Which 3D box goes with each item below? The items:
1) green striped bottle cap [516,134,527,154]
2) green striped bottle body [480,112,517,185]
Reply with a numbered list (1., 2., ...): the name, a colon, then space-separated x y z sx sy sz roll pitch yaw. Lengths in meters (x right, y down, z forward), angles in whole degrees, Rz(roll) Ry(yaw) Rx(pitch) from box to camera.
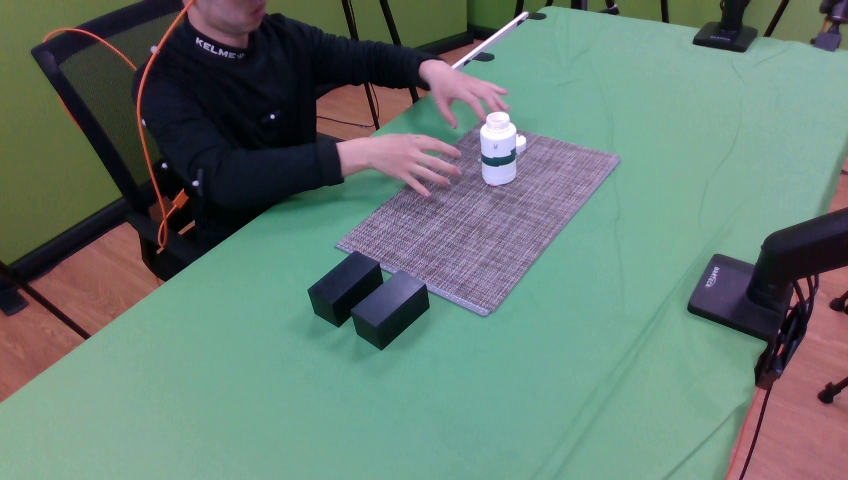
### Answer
1. green striped bottle cap: 0.175 -0.183 1.159 0.044 0.020 0.044 -6 44 6
2. green striped bottle body: 0.130 -0.162 1.057 0.063 0.120 0.063 -4 40 4
